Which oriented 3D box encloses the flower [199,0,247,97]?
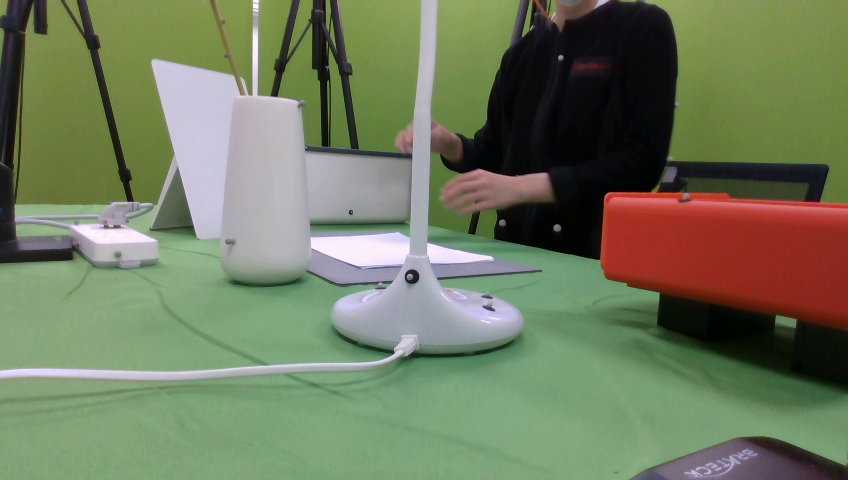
[{"bbox_3d":[-0.187,-0.133,0.648,0.038,0.362,0.044,-1,21,42],"label":"flower"}]

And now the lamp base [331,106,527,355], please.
[{"bbox_3d":[0.006,-0.012,0.478,0.161,0.180,0.179,2,10,2],"label":"lamp base"}]

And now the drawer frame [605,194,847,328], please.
[{"bbox_3d":[0.298,0.007,0.497,0.203,0.082,0.212,-1,7,-34],"label":"drawer frame"}]

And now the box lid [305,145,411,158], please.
[{"bbox_3d":[-0.228,-0.200,1.362,0.373,0.015,0.262,-1,8,-33],"label":"box lid"}]

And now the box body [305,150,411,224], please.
[{"bbox_3d":[-0.230,-0.126,1.372,0.366,0.160,0.253,-2,8,-33],"label":"box body"}]

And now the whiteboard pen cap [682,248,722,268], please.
[{"bbox_3d":[0.250,0.017,0.544,0.033,0.018,0.018,2,7,25],"label":"whiteboard pen cap"}]

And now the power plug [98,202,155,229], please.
[{"bbox_3d":[-0.416,-0.027,0.848,0.073,0.052,0.035,0,8,-28],"label":"power plug"}]

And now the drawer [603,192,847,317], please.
[{"bbox_3d":[0.293,0.002,0.500,0.195,0.073,0.210,-1,8,-34],"label":"drawer"}]

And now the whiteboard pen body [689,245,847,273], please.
[{"bbox_3d":[0.303,0.015,0.519,0.140,0.017,0.017,5,8,25],"label":"whiteboard pen body"}]

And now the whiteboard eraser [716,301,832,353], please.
[{"bbox_3d":[0.255,0.042,0.472,0.112,0.042,0.056,43,19,31],"label":"whiteboard eraser"}]

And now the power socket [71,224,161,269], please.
[{"bbox_3d":[-0.408,0.004,0.793,0.072,0.032,0.225,-2,8,-38],"label":"power socket"}]

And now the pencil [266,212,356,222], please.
[{"bbox_3d":[-0.244,-0.049,1.319,0.195,0.012,0.012,4,7,-12],"label":"pencil"}]

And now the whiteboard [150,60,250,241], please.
[{"bbox_3d":[-0.408,-0.139,1.093,0.143,0.305,0.218,-15,-1,26],"label":"whiteboard"}]

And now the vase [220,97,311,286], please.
[{"bbox_3d":[-0.172,-0.052,0.662,0.098,0.200,0.098,3,8,0],"label":"vase"}]
